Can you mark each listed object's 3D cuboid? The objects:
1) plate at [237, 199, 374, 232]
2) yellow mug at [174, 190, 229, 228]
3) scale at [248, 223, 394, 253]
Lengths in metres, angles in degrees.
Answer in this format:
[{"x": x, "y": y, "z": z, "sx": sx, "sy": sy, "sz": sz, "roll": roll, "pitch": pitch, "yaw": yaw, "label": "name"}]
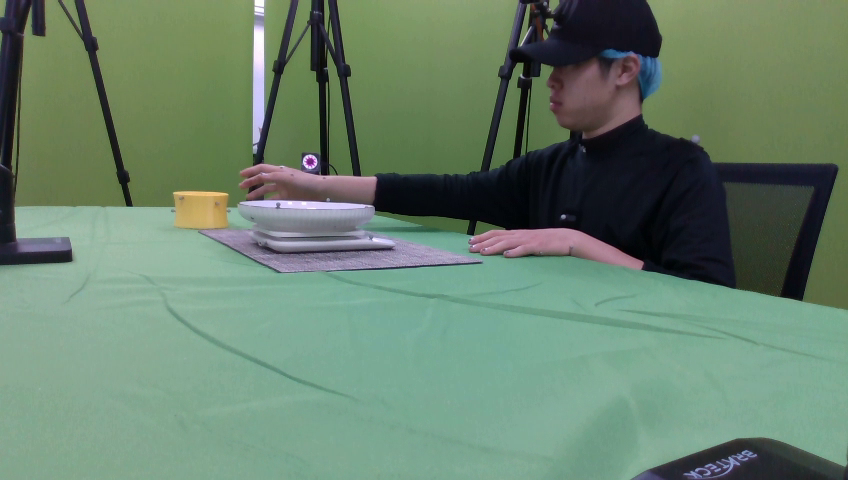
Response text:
[{"x": -0.183, "y": -0.039, "z": 0.941, "sx": 0.209, "sy": 0.038, "sz": 0.209, "roll": 3, "pitch": 7, "yaw": 0, "label": "plate"}, {"x": -0.427, "y": -0.063, "z": 1.189, "sx": 0.100, "sy": 0.064, "sz": 0.131, "roll": 5, "pitch": 7, "yaw": 13, "label": "yellow mug"}, {"x": -0.162, "y": -0.006, "z": 0.954, "sx": 0.202, "sy": 0.031, "sz": 0.148, "roll": -1, "pitch": 9, "yaw": -32, "label": "scale"}]
